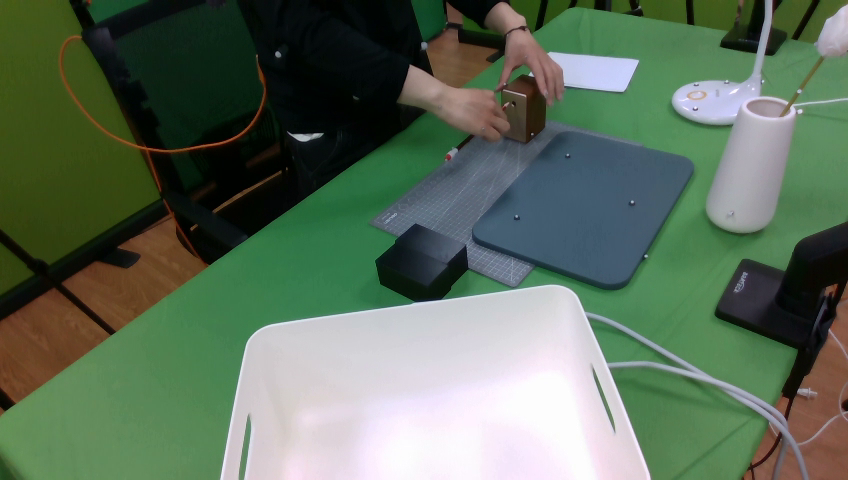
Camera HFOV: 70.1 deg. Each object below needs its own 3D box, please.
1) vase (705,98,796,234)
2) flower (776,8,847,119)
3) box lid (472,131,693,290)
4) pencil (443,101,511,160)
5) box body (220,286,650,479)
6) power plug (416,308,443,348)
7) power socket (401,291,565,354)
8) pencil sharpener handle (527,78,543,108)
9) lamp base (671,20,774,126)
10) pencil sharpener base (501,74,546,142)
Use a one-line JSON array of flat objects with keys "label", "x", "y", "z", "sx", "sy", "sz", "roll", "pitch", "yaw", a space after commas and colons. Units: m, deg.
[{"label": "vase", "x": 0.480, "y": -0.104, "z": 0.889, "sx": 0.098, "sy": 0.201, "sz": 0.097, "roll": -4, "pitch": 42, "yaw": 4}, {"label": "flower", "x": 0.476, "y": -0.156, "z": 0.822, "sx": 0.038, "sy": 0.362, "sz": 0.044, "roll": 7, "pitch": 58, "yaw": 2}, {"label": "box lid", "x": 0.273, "y": -0.068, "z": 1.020, "sx": 0.261, "sy": 0.015, "sz": 0.372, "roll": 20, "pitch": 47, "yaw": 28}, {"label": "pencil", "x": 0.099, "y": -0.199, "z": 1.082, "sx": 0.012, "sy": 0.012, "sz": 0.194, "roll": 27, "pitch": 58, "yaw": 34}, {"label": "box body", "x": 0.006, "y": 0.210, "z": 0.618, "sx": 0.364, "sy": 0.161, "sz": 0.252, "roll": -8, "pitch": 40, "yaw": -1}, {"label": "power plug", "x": 0.005, "y": 0.121, "z": 0.787, "sx": 0.035, "sy": 0.053, "sz": 0.072, "roll": 2, "pitch": 46, "yaw": 8}, {"label": "power socket", "x": 0.079, "y": 0.111, "z": 0.823, "sx": 0.227, "sy": 0.033, "sz": 0.072, "roll": -5, "pitch": 41, "yaw": 1}, {"label": "pencil sharpener handle", "x": 0.223, "y": -0.296, "z": 1.197, "sx": 0.036, "sy": 0.068, "sz": 0.031, "roll": 32, "pitch": 53, "yaw": 23}, {"label": "lamp base", "x": 0.581, "y": -0.332, "z": 1.154, "sx": 0.179, "sy": 0.181, "sz": 0.160, "roll": 2, "pitch": 42, "yaw": 7}, {"label": "pencil sharpener base", "x": 0.195, "y": -0.257, "z": 1.175, "sx": 0.061, "sy": 0.107, "sz": 0.077, "roll": 24, "pitch": 49, "yaw": 32}]
